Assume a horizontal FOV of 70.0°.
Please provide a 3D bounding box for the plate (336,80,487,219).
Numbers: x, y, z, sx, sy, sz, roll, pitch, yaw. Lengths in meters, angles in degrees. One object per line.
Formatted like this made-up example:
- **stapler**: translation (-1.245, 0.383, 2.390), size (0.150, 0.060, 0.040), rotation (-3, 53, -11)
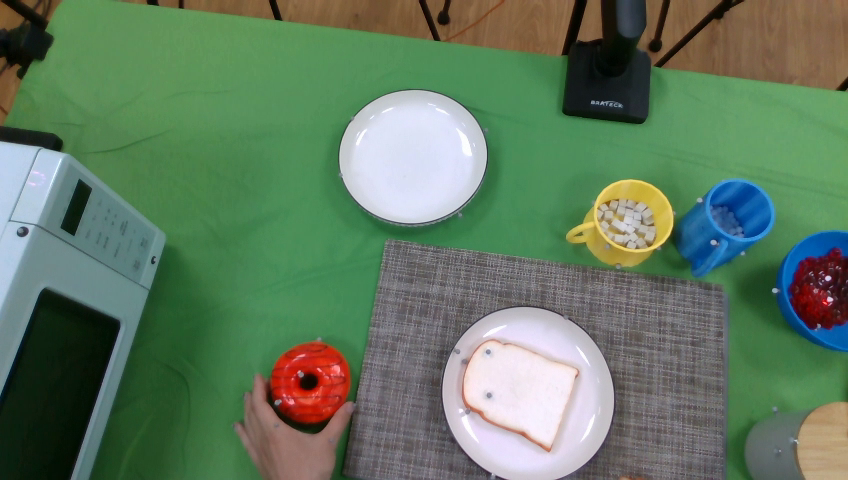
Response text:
- **plate**: translation (-0.018, -0.123, 0.844), size (0.208, 0.039, 0.206), rotation (0, 72, 1)

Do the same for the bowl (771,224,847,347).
- **bowl**: translation (0.498, 0.064, 0.754), size (0.151, 0.077, 0.150), rotation (0, 72, 1)

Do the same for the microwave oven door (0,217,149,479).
- **microwave oven door**: translation (-0.406, 0.180, 0.622), size (0.039, 0.245, 0.354), rotation (9, 72, 5)

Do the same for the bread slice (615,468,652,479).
- **bread slice**: translation (0.230, 0.303, 0.649), size (0.018, 0.135, 0.106), rotation (17, 71, -1)

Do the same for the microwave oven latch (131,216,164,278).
- **microwave oven latch**: translation (-0.363, 0.008, 0.785), size (0.030, 0.029, 0.079), rotation (12, 73, 4)

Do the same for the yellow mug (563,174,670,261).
- **yellow mug**: translation (0.246, -0.025, 0.793), size (0.131, 0.064, 0.099), rotation (-13, 71, -2)

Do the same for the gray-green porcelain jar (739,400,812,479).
- **gray-green porcelain jar**: translation (0.424, 0.234, 0.673), size (0.106, 0.127, 0.105), rotation (0, 72, 1)

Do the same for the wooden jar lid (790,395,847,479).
- **wooden jar lid**: translation (0.422, 0.213, 0.614), size (0.108, 0.021, 0.107), rotation (0, 73, -1)

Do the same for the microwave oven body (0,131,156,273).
- **microwave oven body**: translation (-0.542, 0.119, 0.650), size (0.326, 0.261, 0.439), rotation (9, 73, 4)

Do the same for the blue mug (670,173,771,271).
- **blue mug**: translation (0.365, -0.012, 0.766), size (0.082, 0.106, 0.116), rotation (28, 74, 10)

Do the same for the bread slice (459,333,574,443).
- **bread slice**: translation (0.108, 0.175, 0.744), size (0.131, 0.019, 0.104), rotation (22, 73, 4)

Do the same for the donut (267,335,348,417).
- **donut**: translation (-0.143, 0.168, 0.748), size (0.099, 0.048, 0.098), rotation (1, 73, -3)

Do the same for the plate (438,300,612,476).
- **plate**: translation (0.121, 0.177, 0.739), size (0.209, 0.038, 0.207), rotation (0, 71, 1)
